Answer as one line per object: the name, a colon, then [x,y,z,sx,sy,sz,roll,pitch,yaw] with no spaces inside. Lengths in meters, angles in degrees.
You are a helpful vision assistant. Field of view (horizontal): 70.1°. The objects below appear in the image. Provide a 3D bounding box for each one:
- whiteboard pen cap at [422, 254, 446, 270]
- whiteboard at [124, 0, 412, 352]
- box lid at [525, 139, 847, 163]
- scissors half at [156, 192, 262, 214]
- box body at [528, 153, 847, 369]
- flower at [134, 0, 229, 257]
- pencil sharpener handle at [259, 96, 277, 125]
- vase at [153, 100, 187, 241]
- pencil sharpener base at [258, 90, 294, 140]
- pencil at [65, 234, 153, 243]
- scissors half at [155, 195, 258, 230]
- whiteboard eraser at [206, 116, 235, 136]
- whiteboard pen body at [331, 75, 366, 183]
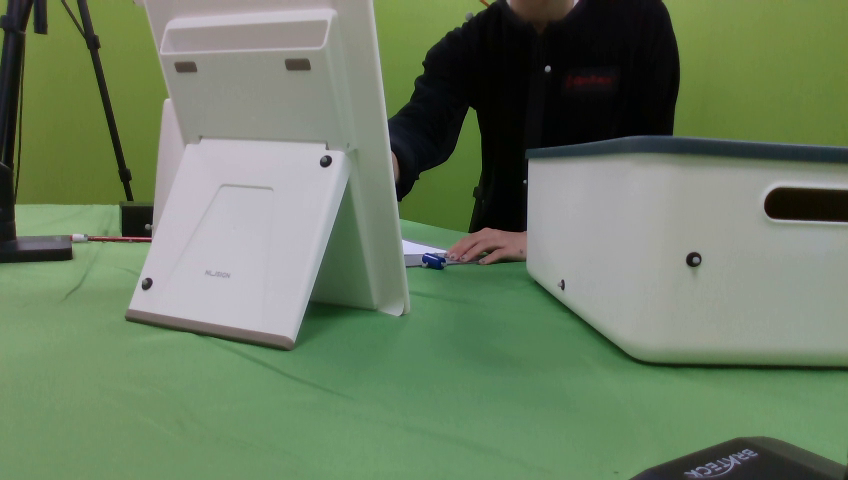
whiteboard pen cap: [0.013,0.028,0.806,0.018,0.018,0.033,-4,14,-41]
whiteboard: [-0.151,-0.049,0.472,0.216,0.305,0.144,6,27,24]
box lid: [0.261,-0.078,0.580,0.264,0.015,0.371,2,7,-4]
scissors half: [-0.371,-0.068,1.051,0.176,0.040,0.013,2,25,-24]
box body: [0.258,-0.005,0.591,0.254,0.160,0.363,2,7,-4]
flower: [-0.282,-0.146,0.713,0.038,0.362,0.044,-23,23,-31]
pencil sharpener handle: [-0.373,-0.304,1.425,0.036,0.067,0.030,13,-1,-37]
vase: [-0.278,-0.066,0.736,0.098,0.200,0.098,2,9,0]
pencil sharpener base: [-0.341,-0.285,1.388,0.062,0.107,0.076,-3,9,-36]
pencil: [-0.429,0.000,0.910,0.195,0.012,0.012,2,7,-19]
scissors half: [-0.378,-0.051,1.059,0.176,0.040,0.012,20,22,-31]
whiteboard eraser: [-0.449,-0.251,1.335,0.056,0.042,0.112,1,7,-22]
whiteboard pen body: [-0.071,-0.105,0.561,0.017,0.140,0.017,4,-37,3]
